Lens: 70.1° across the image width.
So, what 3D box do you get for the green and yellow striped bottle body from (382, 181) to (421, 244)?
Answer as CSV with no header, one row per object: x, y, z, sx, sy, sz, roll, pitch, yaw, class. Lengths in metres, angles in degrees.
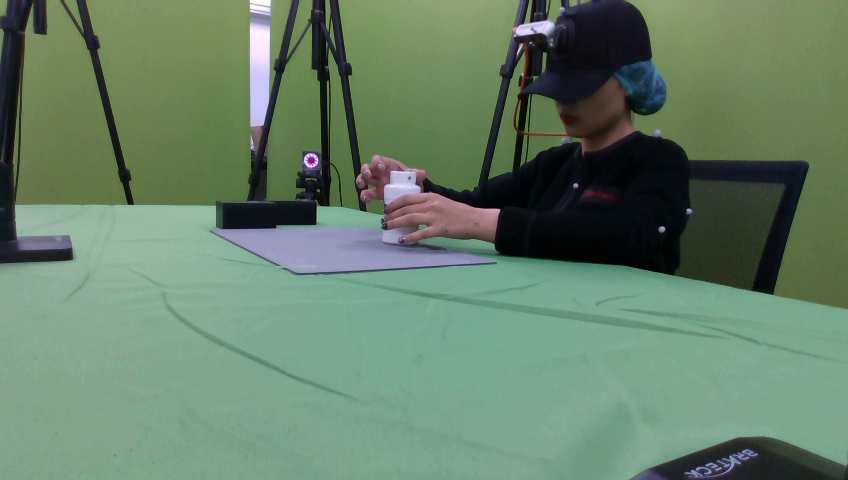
-0.038,-0.055,1.018,0.063,0.119,0.063,3,8,0,green and yellow striped bottle body

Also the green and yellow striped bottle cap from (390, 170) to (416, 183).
-0.035,-0.106,1.011,0.045,0.020,0.045,2,6,0,green and yellow striped bottle cap
